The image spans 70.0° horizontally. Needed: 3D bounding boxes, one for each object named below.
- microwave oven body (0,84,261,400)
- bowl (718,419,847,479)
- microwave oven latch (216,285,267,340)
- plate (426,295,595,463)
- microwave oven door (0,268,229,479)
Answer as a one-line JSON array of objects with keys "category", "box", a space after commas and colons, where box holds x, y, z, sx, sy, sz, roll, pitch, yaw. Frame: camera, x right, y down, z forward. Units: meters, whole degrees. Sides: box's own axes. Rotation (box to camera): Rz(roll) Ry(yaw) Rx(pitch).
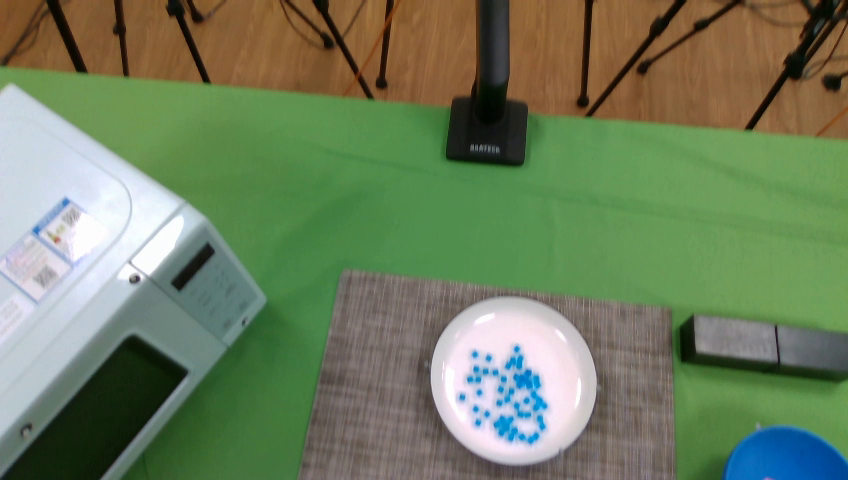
[{"category": "microwave oven body", "box": [-0.465, 0.108, 0.679, 0.324, 0.262, 0.440, 32, 70, 14]}, {"category": "bowl", "box": [0.399, 0.285, 0.684, 0.151, 0.077, 0.150, 0, 64, 1]}, {"category": "microwave oven latch", "box": [-0.240, 0.090, 0.790, 0.030, 0.030, 0.079, 34, 71, 15]}, {"category": "plate", "box": [0.106, 0.172, 0.761, 0.208, 0.039, 0.206, 0, 65, 1]}, {"category": "microwave oven door", "box": [-0.369, 0.210, 0.624, 0.039, 0.245, 0.355, 31, 69, 15]}]
